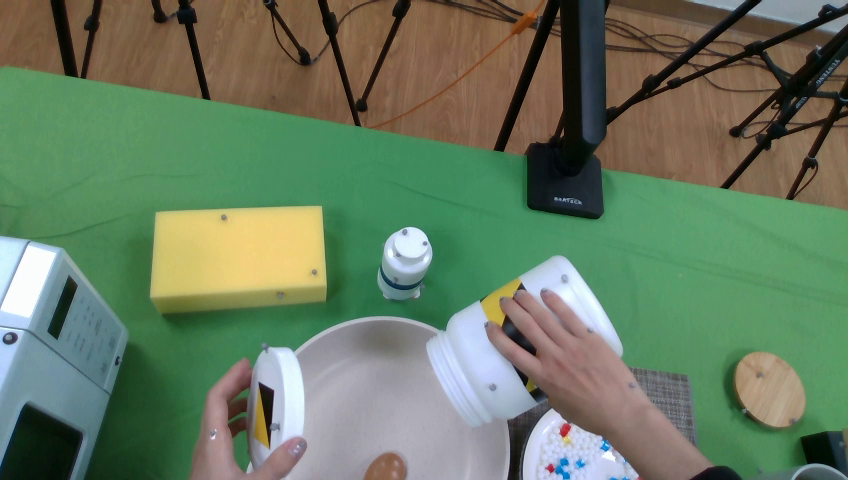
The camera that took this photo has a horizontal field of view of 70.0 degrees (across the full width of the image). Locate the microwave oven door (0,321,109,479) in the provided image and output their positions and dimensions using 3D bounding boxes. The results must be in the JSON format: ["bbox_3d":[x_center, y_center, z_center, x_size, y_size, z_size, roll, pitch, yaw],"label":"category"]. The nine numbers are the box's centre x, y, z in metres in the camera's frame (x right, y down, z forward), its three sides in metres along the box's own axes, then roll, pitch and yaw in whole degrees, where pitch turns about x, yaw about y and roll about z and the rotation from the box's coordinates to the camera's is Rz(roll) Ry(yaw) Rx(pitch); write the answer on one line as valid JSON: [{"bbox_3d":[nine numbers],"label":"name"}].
[{"bbox_3d":[-0.374,0.271,0.515,0.039,0.245,0.353,9,63,-7],"label":"microwave oven door"}]

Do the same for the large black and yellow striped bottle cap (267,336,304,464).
[{"bbox_3d":[-0.127,0.145,0.553,0.019,0.115,0.114,-7,66,-16],"label":"large black and yellow striped bottle cap"}]

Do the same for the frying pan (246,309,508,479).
[{"bbox_3d":[-0.016,0.312,0.662,0.307,0.103,0.483,-13,60,-16],"label":"frying pan"}]

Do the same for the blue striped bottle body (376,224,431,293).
[{"bbox_3d":[-0.026,0.020,0.793,0.063,0.121,0.062,4,64,-9],"label":"blue striped bottle body"}]

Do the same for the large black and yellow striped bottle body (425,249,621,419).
[{"bbox_3d":[0.106,0.107,0.671,0.184,0.131,0.130,-31,72,5],"label":"large black and yellow striped bottle body"}]

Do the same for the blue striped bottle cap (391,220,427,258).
[{"bbox_3d":[-0.018,-0.002,0.747,0.045,0.021,0.044,4,61,-7],"label":"blue striped bottle cap"}]

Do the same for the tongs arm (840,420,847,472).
[{"bbox_3d":[0.565,0.419,0.738,0.051,0.026,0.382,5,74,-11],"label":"tongs arm"}]

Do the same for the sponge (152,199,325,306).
[{"bbox_3d":[-0.235,0.014,0.788,0.207,0.061,0.117,-4,66,-14],"label":"sponge"}]

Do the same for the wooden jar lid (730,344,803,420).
[{"bbox_3d":[0.486,0.203,0.866,0.108,0.021,0.107,4,66,-9],"label":"wooden jar lid"}]

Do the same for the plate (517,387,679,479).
[{"bbox_3d":[0.213,0.290,0.756,0.209,0.038,0.207,4,64,-9],"label":"plate"}]

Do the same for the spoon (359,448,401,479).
[{"bbox_3d":[-0.089,0.293,0.666,0.041,0.021,0.194,56,38,5],"label":"spoon"}]

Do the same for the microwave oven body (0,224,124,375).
[{"bbox_3d":[-0.513,0.212,0.521,0.327,0.261,0.438,9,64,-7],"label":"microwave oven body"}]

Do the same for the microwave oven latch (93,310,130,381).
[{"bbox_3d":[-0.366,0.121,0.703,0.030,0.029,0.078,9,64,-7],"label":"microwave oven latch"}]

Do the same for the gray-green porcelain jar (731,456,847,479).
[{"bbox_3d":[0.445,0.325,0.739,0.106,0.127,0.105,5,64,-9],"label":"gray-green porcelain jar"}]
